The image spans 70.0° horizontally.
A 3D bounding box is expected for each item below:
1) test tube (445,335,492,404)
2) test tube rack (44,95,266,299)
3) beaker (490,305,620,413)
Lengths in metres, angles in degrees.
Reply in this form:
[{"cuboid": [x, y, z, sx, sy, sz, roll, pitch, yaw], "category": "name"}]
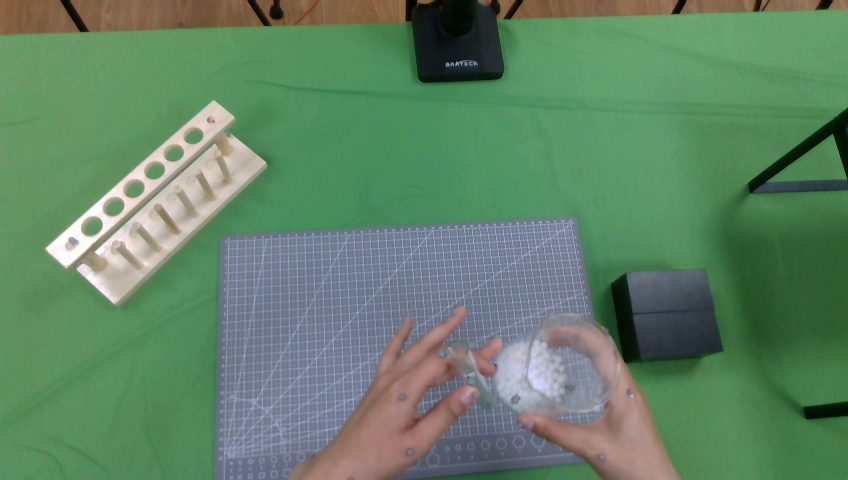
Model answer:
[{"cuboid": [0.038, 0.106, 0.479, 0.017, 0.151, 0.017, -6, 61, 11], "category": "test tube"}, {"cuboid": [-0.300, -0.050, 0.704, 0.066, 0.085, 0.242, 39, 73, 9], "category": "test tube rack"}, {"cuboid": [0.098, 0.104, 0.494, 0.084, 0.100, 0.073, -22, 77, -19], "category": "beaker"}]
